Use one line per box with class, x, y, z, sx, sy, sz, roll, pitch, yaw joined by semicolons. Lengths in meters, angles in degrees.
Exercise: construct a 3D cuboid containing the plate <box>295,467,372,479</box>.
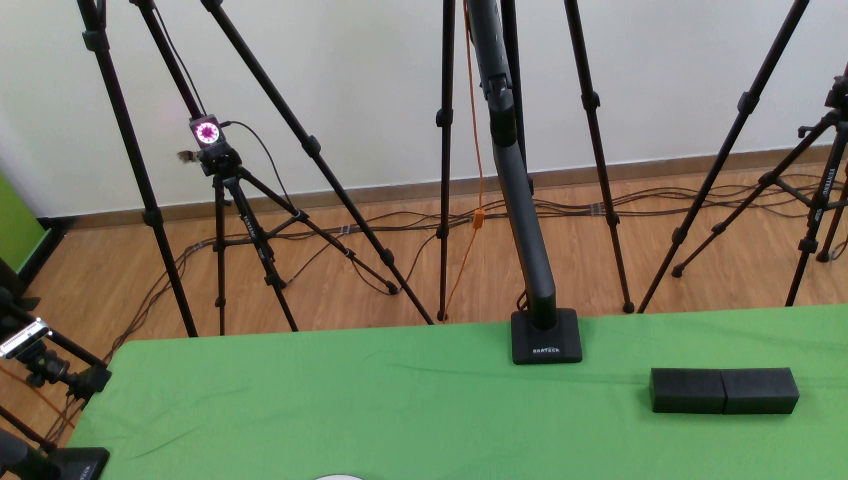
plate;-0.142;0.433;0.872;0.207;0.039;0.205;-7;43;7
